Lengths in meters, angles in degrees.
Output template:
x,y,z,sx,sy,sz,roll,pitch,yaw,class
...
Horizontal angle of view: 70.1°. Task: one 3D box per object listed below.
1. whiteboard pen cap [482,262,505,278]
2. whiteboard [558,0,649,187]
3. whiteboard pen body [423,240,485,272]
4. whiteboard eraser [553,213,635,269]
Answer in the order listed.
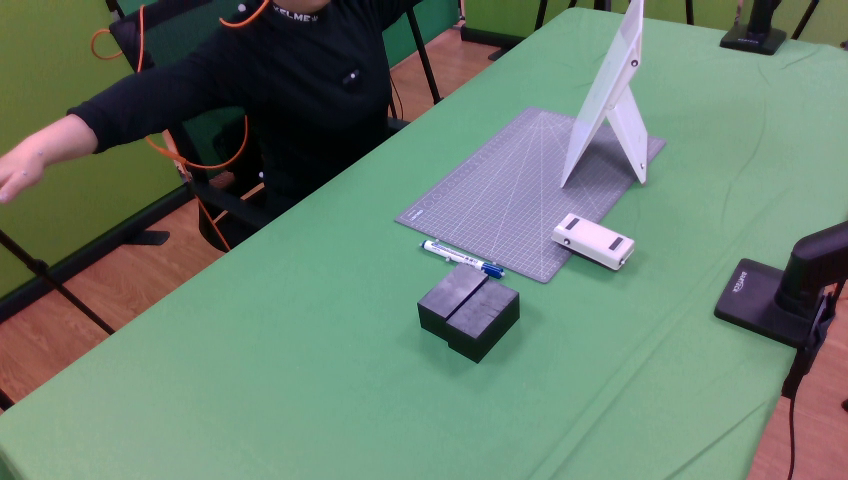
x,y,z,sx,sy,sz,roll,pitch,yaw,class
0.104,0.044,0.912,0.033,0.018,0.018,22,49,29,whiteboard pen cap
0.361,-0.238,1.026,0.144,0.306,0.217,21,44,4,whiteboard
0.057,0.027,0.942,0.139,0.017,0.017,22,48,30,whiteboard pen body
0.257,0.003,0.918,0.112,0.042,0.056,27,49,30,whiteboard eraser
